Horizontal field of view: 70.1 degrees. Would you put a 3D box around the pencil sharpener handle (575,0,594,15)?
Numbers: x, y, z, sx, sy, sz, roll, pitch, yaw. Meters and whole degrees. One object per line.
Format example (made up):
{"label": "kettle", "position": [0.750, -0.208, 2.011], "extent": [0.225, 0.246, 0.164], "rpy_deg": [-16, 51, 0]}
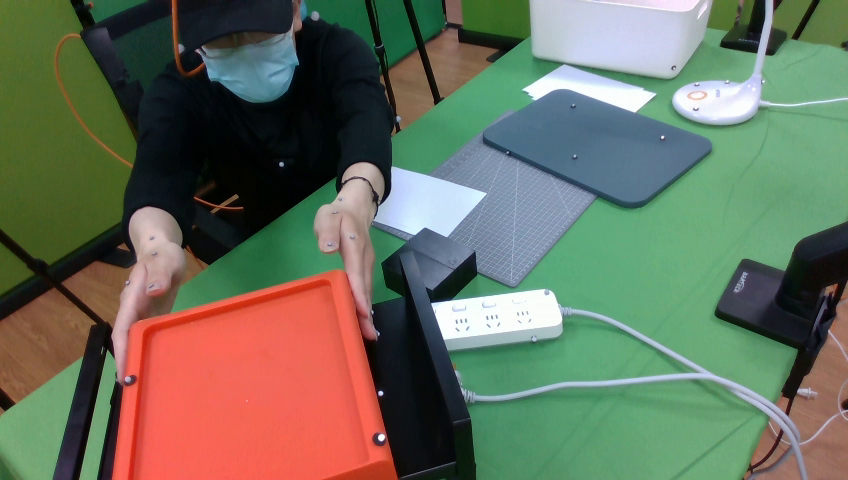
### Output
{"label": "pencil sharpener handle", "position": [0.401, -0.594, 1.512], "extent": [0.036, 0.067, 0.030], "rpy_deg": [35, 49, 0]}

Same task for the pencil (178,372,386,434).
{"label": "pencil", "position": [-0.127, 0.142, 0.534], "extent": [0.194, 0.012, 0.012], "rpy_deg": [13, 43, 6]}

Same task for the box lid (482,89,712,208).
{"label": "box lid", "position": [0.320, -0.190, 1.156], "extent": [0.264, 0.015, 0.368], "rpy_deg": [-33, 47, -28]}

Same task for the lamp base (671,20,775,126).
{"label": "lamp base", "position": [0.582, -0.332, 1.153], "extent": [0.179, 0.181, 0.160], "rpy_deg": [2, 41, 7]}

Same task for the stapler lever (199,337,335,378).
{"label": "stapler lever", "position": [-0.142, 0.105, 0.541], "extent": [0.118, 0.040, 0.026], "rpy_deg": [-3, 43, 4]}

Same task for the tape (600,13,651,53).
{"label": "tape", "position": [0.484, -0.497, 1.451], "extent": [0.117, 0.053, 0.116], "rpy_deg": [-4, 41, 4]}

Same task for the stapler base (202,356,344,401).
{"label": "stapler base", "position": [-0.141, 0.124, 0.557], "extent": [0.130, 0.024, 0.041], "rpy_deg": [-2, 43, 3]}

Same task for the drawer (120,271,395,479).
{"label": "drawer", "position": [-0.141, 0.139, 0.510], "extent": [0.195, 0.073, 0.210], "rpy_deg": [-14, 42, -8]}

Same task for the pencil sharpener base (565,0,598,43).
{"label": "pencil sharpener base", "position": [0.388, -0.550, 1.484], "extent": [0.061, 0.107, 0.077], "rpy_deg": [13, 44, 23]}

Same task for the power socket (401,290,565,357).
{"label": "power socket", "position": [0.080, 0.113, 0.821], "extent": [0.227, 0.033, 0.072], "rpy_deg": [-6, 41, 0]}

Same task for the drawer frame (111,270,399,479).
{"label": "drawer frame", "position": [-0.139, 0.140, 0.506], "extent": [0.202, 0.083, 0.212], "rpy_deg": [-15, 42, -9]}

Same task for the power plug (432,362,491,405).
{"label": "power plug", "position": [0.045, 0.182, 0.758], "extent": [0.073, 0.035, 0.052], "rpy_deg": [22, 43, -18]}

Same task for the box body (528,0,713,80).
{"label": "box body", "position": [0.451, -0.513, 1.398], "extent": [0.361, 0.161, 0.254], "rpy_deg": [19, 47, 28]}
